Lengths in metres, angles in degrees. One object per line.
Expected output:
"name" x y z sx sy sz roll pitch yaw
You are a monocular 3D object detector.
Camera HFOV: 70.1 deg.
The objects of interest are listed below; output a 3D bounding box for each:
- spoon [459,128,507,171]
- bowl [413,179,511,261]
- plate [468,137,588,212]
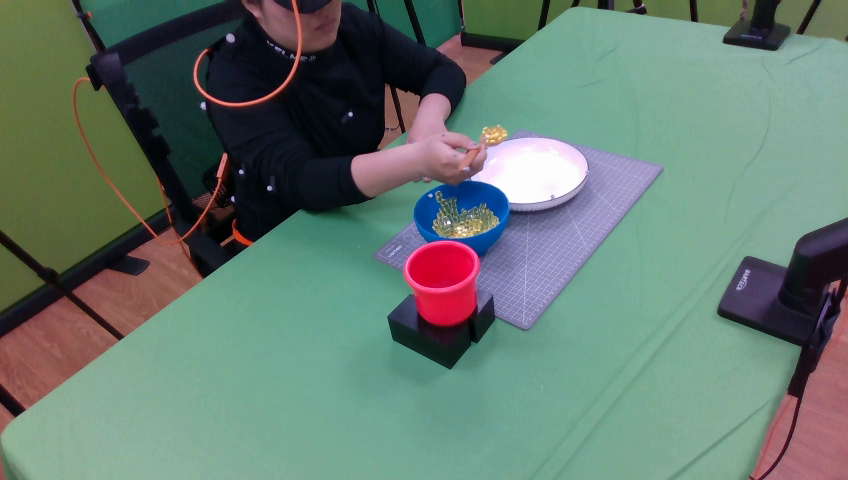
"spoon" 0.085 -0.138 0.904 0.041 0.022 0.194 10 25 19
"bowl" 0.062 -0.021 0.947 0.151 0.077 0.150 -5 40 5
"plate" 0.182 -0.112 1.064 0.207 0.039 0.206 -5 40 5
